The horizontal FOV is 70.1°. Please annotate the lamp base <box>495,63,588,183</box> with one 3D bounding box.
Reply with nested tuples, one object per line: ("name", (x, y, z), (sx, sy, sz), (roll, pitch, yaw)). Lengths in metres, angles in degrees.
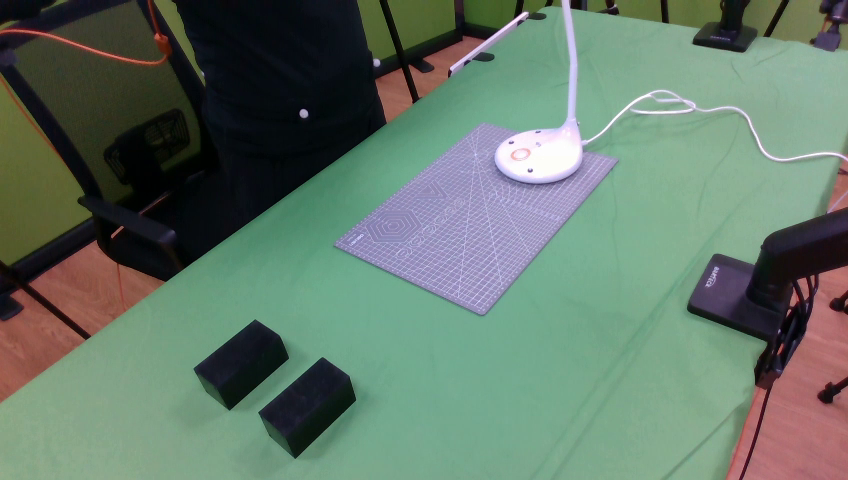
("lamp base", (0.214, -0.217, 1.067), (0.180, 0.181, 0.159), (-20, 42, -18))
